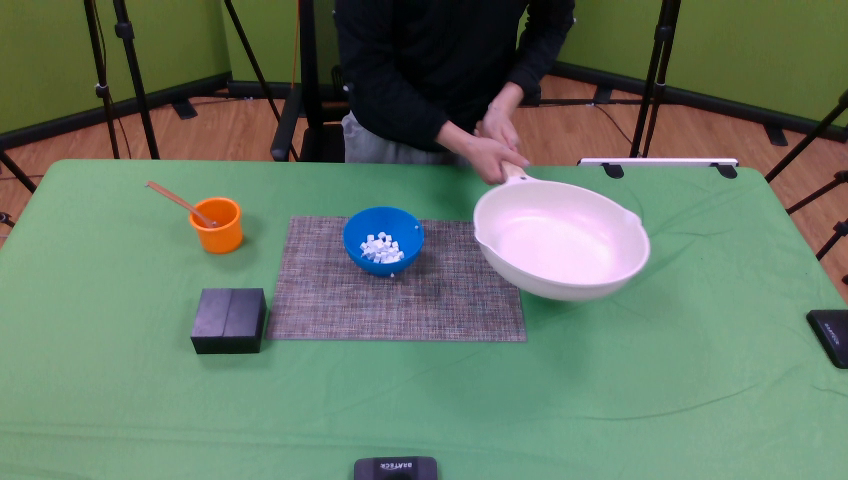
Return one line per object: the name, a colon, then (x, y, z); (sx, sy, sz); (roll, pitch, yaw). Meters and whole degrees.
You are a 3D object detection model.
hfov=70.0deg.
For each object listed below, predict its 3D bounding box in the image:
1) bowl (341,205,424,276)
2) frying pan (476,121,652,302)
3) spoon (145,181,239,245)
bowl: (-0.079, 0.014, 1.133); (0.151, 0.077, 0.150); (2, 46, -2)
frying pan: (0.200, -0.071, 1.100); (0.307, 0.103, 0.484); (-7, 48, -17)
spoon: (-0.429, -0.052, 1.126); (0.021, 0.195, 0.041); (-27, 34, 33)
